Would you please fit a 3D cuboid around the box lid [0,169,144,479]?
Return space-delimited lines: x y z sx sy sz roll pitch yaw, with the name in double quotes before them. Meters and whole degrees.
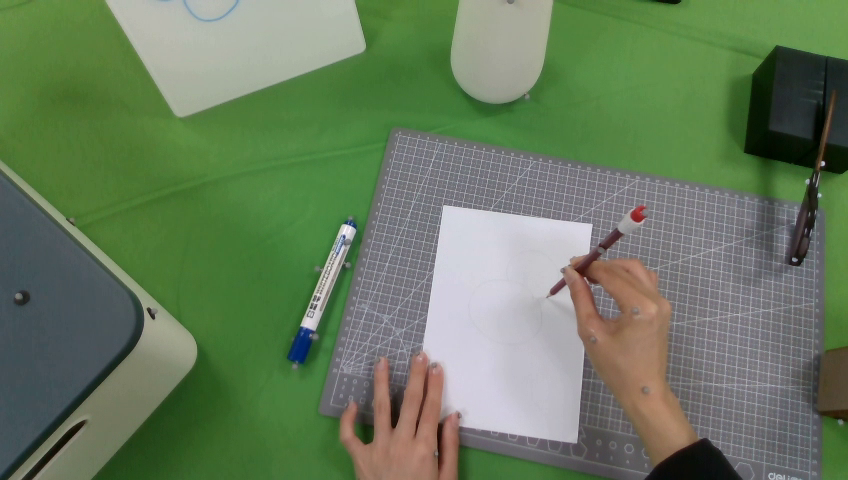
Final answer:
"box lid" -0.410 0.036 0.427 0.370 0.015 0.263 38 76 11

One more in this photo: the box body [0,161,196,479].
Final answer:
"box body" -0.408 0.061 0.497 0.362 0.161 0.253 38 76 11

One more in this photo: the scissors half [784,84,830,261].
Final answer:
"scissors half" 0.372 -0.065 0.585 0.012 0.040 0.175 13 92 29

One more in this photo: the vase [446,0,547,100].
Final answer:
"vase" 0.070 -0.220 0.569 0.098 0.201 0.097 0 71 1

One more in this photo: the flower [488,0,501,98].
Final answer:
"flower" 0.066 -0.259 0.494 0.044 0.365 0.038 5 54 5

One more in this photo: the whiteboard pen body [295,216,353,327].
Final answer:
"whiteboard pen body" -0.099 0.040 0.580 0.017 0.017 0.140 18 71 6

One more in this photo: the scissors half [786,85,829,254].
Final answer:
"scissors half" 0.364 -0.070 0.567 0.013 0.040 0.174 14 74 24

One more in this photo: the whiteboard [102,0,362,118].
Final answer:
"whiteboard" -0.211 -0.308 0.572 0.217 0.308 0.142 -22 54 -6

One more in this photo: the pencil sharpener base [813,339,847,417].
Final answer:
"pencil sharpener base" 0.398 0.120 0.510 0.076 0.107 0.061 15 72 2

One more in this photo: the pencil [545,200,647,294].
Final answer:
"pencil" 0.131 0.014 0.494 0.012 0.195 0.012 3 67 -8

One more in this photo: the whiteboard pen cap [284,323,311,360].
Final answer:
"whiteboard pen cap" -0.116 0.093 0.561 0.018 0.018 0.033 17 69 6
